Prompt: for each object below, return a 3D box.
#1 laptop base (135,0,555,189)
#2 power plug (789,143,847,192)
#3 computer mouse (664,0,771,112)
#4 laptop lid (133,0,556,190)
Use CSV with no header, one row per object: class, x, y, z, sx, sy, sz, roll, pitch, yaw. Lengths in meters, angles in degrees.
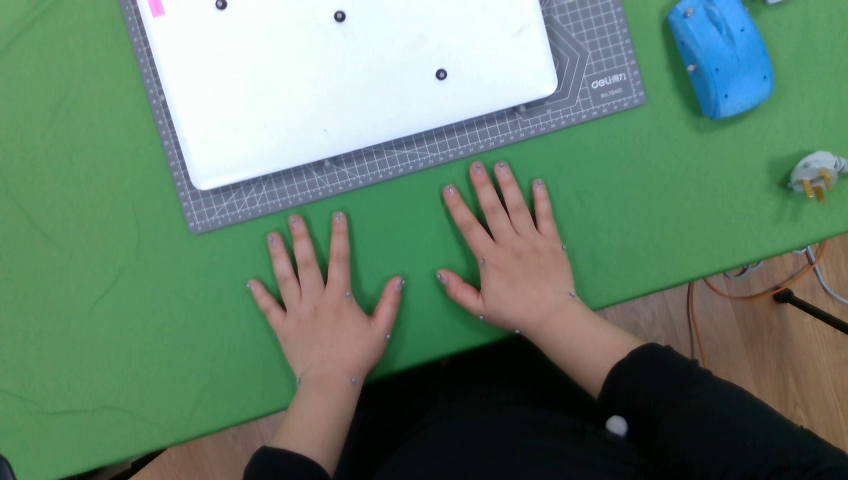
laptop base,-0.077,-0.206,0.561,0.354,0.023,0.236,-16,97,2
power plug,0.371,-0.066,0.548,0.072,0.035,0.052,0,53,13
computer mouse,0.267,-0.178,0.550,0.063,0.041,0.117,-21,89,4
laptop lid,-0.077,-0.203,0.549,0.357,0.013,0.242,-14,96,2
